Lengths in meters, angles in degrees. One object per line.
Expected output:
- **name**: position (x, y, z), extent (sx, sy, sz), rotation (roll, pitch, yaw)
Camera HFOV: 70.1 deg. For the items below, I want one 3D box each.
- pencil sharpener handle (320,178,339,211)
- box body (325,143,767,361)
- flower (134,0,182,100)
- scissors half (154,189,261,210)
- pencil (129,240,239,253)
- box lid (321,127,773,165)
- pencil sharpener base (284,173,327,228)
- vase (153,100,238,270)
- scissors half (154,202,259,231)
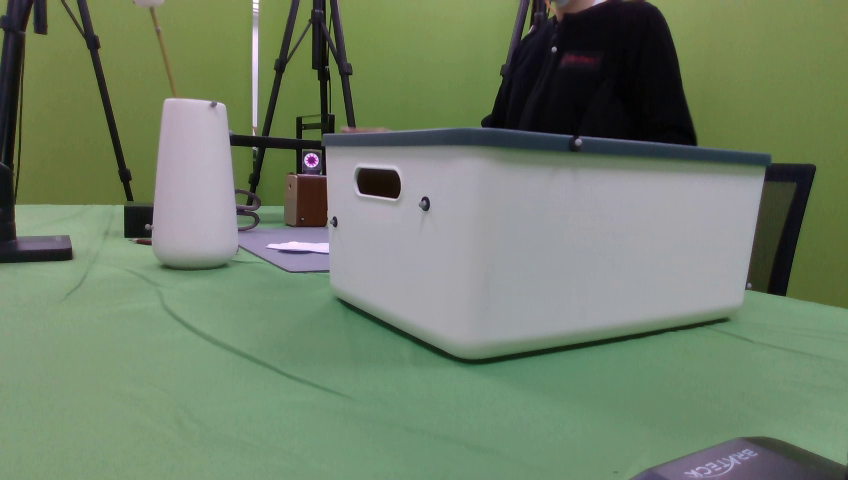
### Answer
- **pencil sharpener handle**: position (-0.194, -0.095, 1.256), extent (0.031, 0.067, 0.036), rotation (-2, -6, -36)
- **box body**: position (0.111, -0.011, 0.584), extent (0.366, 0.160, 0.253), rotation (-2, 9, -33)
- **flower**: position (-0.282, -0.146, 0.712), extent (0.038, 0.362, 0.044), rotation (-23, 24, -31)
- **scissors half**: position (-0.373, -0.066, 1.049), extent (0.176, 0.040, 0.012), rotation (-6, 12, -27)
- **pencil**: position (-0.350, 0.008, 0.874), extent (0.193, 0.012, 0.012), rotation (4, 7, 19)
- **box lid**: position (0.113, -0.084, 0.573), extent (0.373, 0.015, 0.262), rotation (-2, 8, -33)
- **pencil sharpener base**: position (-0.239, -0.081, 1.231), extent (0.077, 0.107, 0.061), rotation (-2, 8, -36)
- **vase**: position (-0.278, -0.066, 0.736), extent (0.098, 0.200, 0.098), rotation (2, 9, 0)
- **scissors half**: position (-0.375, -0.046, 1.051), extent (0.176, 0.040, 0.013), rotation (13, -3, -28)
